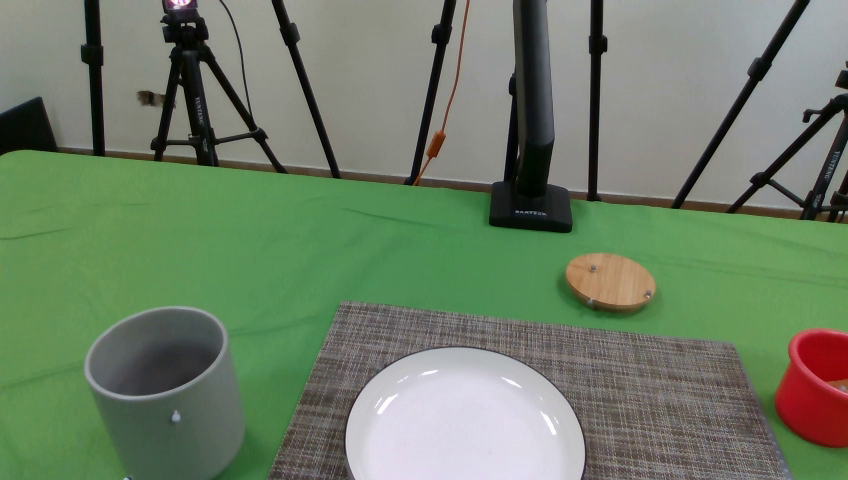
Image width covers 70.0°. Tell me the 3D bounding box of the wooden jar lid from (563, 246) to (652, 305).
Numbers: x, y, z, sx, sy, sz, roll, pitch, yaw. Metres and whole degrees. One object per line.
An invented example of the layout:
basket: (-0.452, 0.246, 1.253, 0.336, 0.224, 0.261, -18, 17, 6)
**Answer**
wooden jar lid: (0.227, 0.045, 0.755, 0.108, 0.021, 0.107, 2, 36, -1)

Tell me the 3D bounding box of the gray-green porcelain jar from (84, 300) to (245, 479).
gray-green porcelain jar: (-0.210, 0.131, 0.508, 0.106, 0.127, 0.105, 2, 35, -1)

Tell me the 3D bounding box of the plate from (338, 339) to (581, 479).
plate: (0.030, 0.173, 0.534, 0.208, 0.039, 0.205, 2, 35, -1)

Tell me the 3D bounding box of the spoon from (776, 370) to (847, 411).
spoon: (0.425, 0.114, 0.555, 0.194, 0.022, 0.041, -34, 22, 29)
